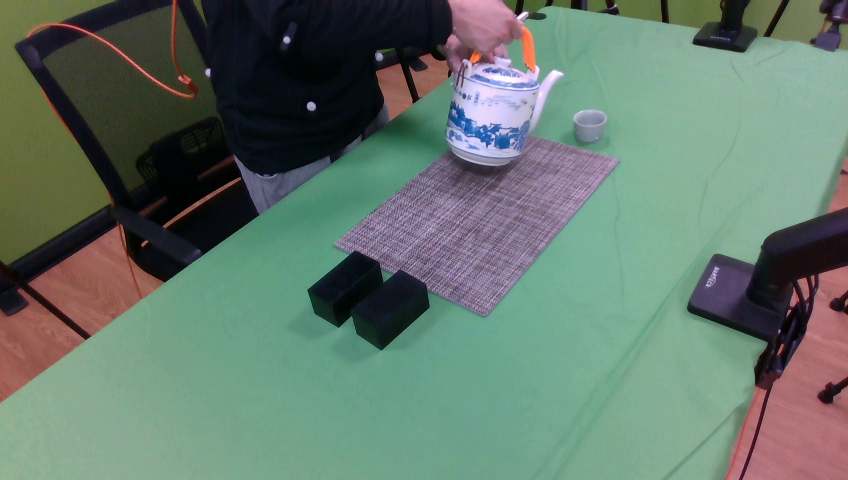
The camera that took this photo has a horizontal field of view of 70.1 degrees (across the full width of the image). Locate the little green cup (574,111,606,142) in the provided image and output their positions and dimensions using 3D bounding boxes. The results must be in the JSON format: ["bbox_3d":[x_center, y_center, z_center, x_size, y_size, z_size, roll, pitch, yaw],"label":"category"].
[{"bbox_3d":[0.318,-0.217,1.164,0.061,0.039,0.061,-3,41,3],"label":"little green cup"}]

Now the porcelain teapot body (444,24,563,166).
[{"bbox_3d":[0.148,-0.255,1.054,0.207,0.225,0.144,-5,32,-28],"label":"porcelain teapot body"}]

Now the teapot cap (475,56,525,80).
[{"bbox_3d":[0.129,-0.287,1.020,0.085,0.044,0.085,9,30,-5],"label":"teapot cap"}]
